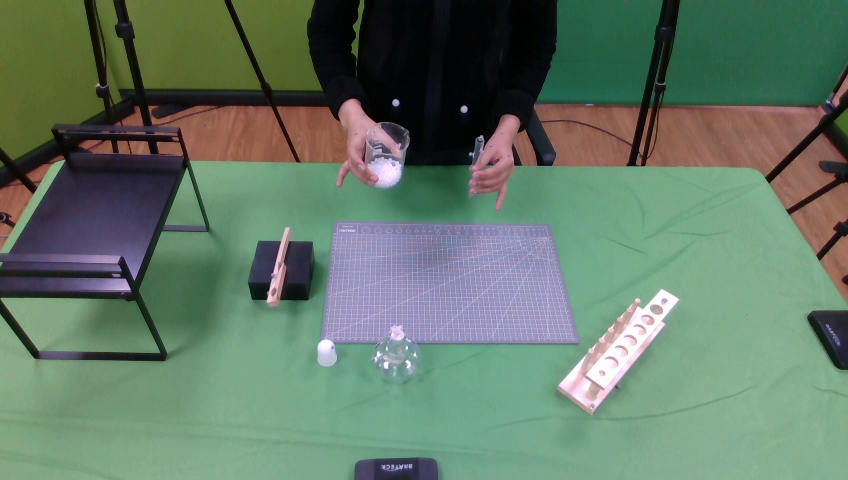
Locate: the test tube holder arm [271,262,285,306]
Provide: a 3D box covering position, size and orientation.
[{"bbox_3d":[-0.250,0.075,1.039,0.010,0.015,0.087,-5,46,3],"label":"test tube holder arm"}]

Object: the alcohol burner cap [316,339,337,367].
[{"bbox_3d":[-0.161,0.182,0.995,0.034,0.048,0.033,2,47,-2],"label":"alcohol burner cap"}]

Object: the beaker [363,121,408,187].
[{"bbox_3d":[-0.067,-0.148,1.057,0.084,0.100,0.073,-30,66,-24],"label":"beaker"}]

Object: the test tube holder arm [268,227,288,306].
[{"bbox_3d":[-0.258,0.043,1.071,0.013,0.015,0.177,-6,46,2],"label":"test tube holder arm"}]

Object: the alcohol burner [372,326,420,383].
[{"bbox_3d":[-0.045,0.175,0.961,0.078,0.120,0.077,1,47,-1],"label":"alcohol burner"}]

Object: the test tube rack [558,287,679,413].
[{"bbox_3d":[0.326,0.170,1.009,0.066,0.085,0.242,36,54,27],"label":"test tube rack"}]

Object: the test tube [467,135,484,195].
[{"bbox_3d":[0.092,-0.133,1.104,0.017,0.151,0.017,2,55,-2],"label":"test tube"}]
